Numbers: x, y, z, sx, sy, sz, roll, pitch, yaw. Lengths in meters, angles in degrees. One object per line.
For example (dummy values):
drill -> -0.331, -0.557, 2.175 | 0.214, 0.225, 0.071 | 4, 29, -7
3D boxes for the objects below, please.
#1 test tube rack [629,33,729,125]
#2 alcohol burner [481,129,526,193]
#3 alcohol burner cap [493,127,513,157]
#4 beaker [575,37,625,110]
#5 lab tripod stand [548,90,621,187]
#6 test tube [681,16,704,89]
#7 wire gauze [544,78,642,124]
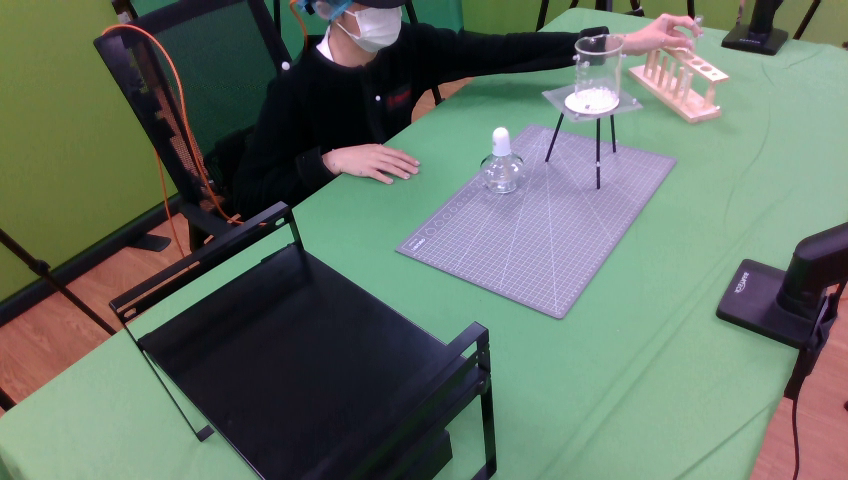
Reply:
test tube rack -> 0.517, -0.337, 1.247 | 0.067, 0.085, 0.240 | -14, 41, -7
alcohol burner -> 0.138, -0.141, 1.052 | 0.078, 0.119, 0.077 | -5, 42, 5
alcohol burner cap -> 0.132, -0.169, 1.030 | 0.034, 0.048, 0.033 | -7, 35, 5
beaker -> 0.283, -0.271, 0.988 | 0.074, 0.101, 0.083 | -10, 39, 1
lab tripod stand -> 0.289, -0.184, 1.062 | 0.148, 0.132, 0.147 | -6, 41, 6
test tube -> 0.534, -0.371, 1.206 | 0.017, 0.151, 0.017 | -3, 42, 3
wire gauze -> 0.282, -0.234, 1.021 | 0.125, 0.011, 0.120 | -17, 38, -4
